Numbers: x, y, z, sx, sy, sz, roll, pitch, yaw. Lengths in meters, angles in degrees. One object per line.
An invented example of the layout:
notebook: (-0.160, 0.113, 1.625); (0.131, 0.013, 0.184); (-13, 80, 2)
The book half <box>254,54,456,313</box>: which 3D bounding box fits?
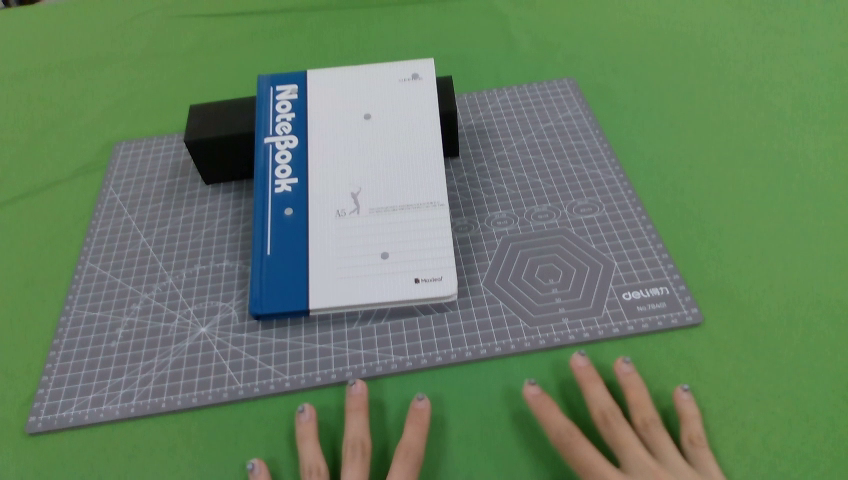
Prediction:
book half: (-0.056, -0.051, 0.461); (0.143, 0.007, 0.208); (-5, 67, 1)
